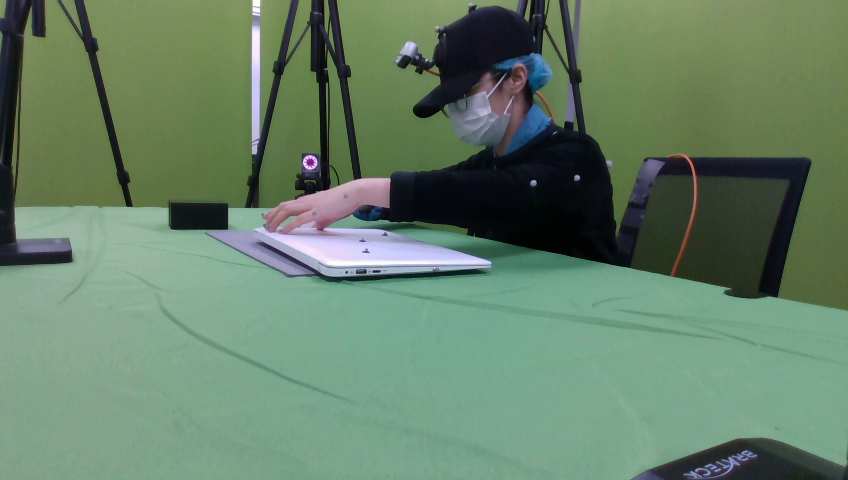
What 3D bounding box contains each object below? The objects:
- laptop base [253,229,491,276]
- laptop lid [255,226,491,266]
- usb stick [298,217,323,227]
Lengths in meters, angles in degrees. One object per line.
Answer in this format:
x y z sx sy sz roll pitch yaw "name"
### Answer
-0.095 0.015 0.889 0.237 0.023 0.352 1 7 -30 "laptop base"
-0.092 0.003 0.889 0.243 0.013 0.355 1 8 -28 "laptop lid"
-0.223 -0.031 1.150 0.059 0.027 0.021 -7 10 -29 "usb stick"
